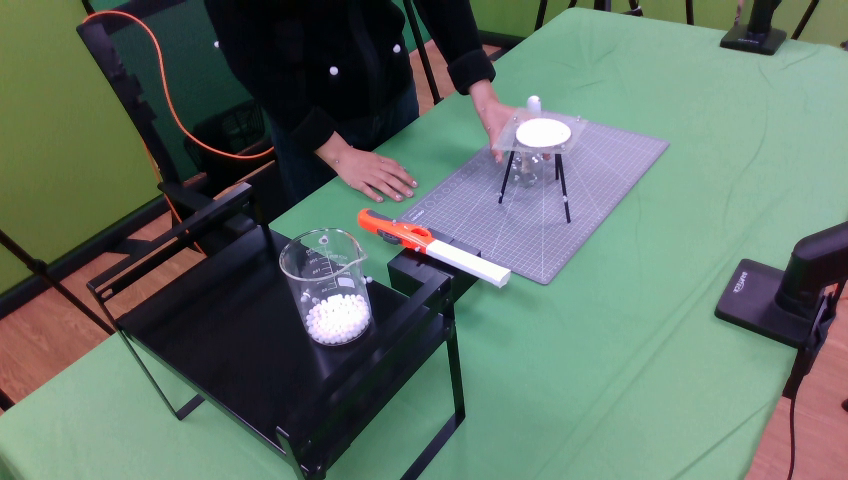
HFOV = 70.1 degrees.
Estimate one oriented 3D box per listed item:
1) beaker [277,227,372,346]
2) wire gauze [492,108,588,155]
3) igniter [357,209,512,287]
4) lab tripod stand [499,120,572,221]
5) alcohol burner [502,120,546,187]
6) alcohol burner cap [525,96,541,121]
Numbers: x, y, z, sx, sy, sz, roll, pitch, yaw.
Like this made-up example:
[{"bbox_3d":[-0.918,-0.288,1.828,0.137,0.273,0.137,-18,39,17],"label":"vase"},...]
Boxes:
[{"bbox_3d":[-0.090,0.048,0.593,0.084,0.101,0.073,-3,41,5],"label":"beaker"},{"bbox_3d":[0.185,-0.170,0.953,0.121,0.011,0.125,13,44,22],"label":"wire gauze"},{"bbox_3d":[0.004,0.006,0.891,0.274,0.025,0.057,23,37,30],"label":"igniter"},{"bbox_3d":[0.198,-0.117,0.992,0.148,0.132,0.147,-3,40,3],"label":"lab tripod stand"},{"bbox_3d":[0.173,-0.153,1.055,0.078,0.119,0.077,-7,39,6],"label":"alcohol burner"},{"bbox_3d":[0.225,-0.273,1.243,0.034,0.048,0.033,-3,41,3],"label":"alcohol burner cap"}]
